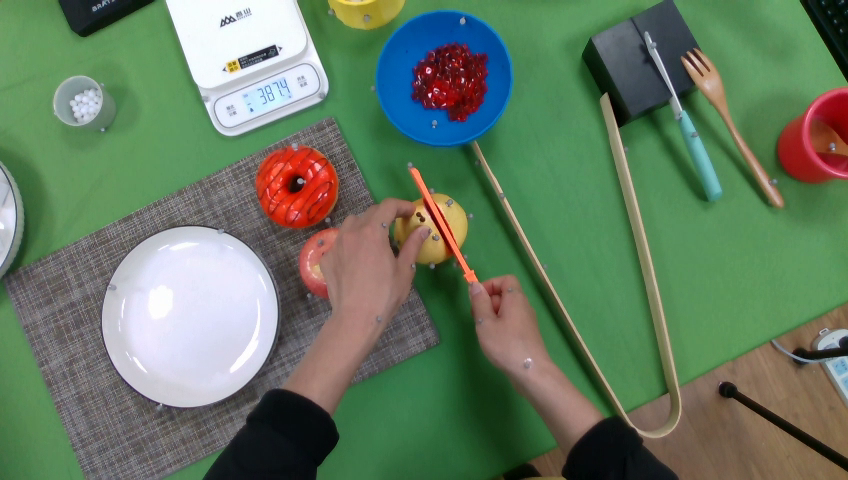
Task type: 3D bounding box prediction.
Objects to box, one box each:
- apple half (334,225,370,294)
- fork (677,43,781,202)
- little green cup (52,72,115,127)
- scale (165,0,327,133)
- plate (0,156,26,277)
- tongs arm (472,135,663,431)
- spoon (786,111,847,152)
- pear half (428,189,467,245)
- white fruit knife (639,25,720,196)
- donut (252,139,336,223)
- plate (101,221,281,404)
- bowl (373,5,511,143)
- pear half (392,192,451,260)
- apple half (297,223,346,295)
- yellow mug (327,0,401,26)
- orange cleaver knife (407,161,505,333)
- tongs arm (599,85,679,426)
[{"bbox_3d":[-0.076,0.024,0.679,0.033,0.081,0.081,7,86,6],"label":"apple half"},{"bbox_3d":[0.344,-0.128,0.675,0.028,0.018,0.208,-36,100,-2],"label":"fork"},{"bbox_3d":[-0.409,-0.167,0.733,0.061,0.039,0.061,0,86,4],"label":"little green cup"},{"bbox_3d":[-0.216,-0.244,0.731,0.148,0.031,0.200,-22,86,2],"label":"scale"},{"bbox_3d":[-0.578,-0.025,0.733,0.207,0.039,0.207,0,86,3],"label":"plate"},{"bbox_3d":[0.160,0.043,0.688,0.051,0.026,0.384,-25,86,-2],"label":"tongs arm"},{"bbox_3d":[0.457,-0.085,0.626,0.041,0.022,0.191,-32,41,0],"label":"spoon"},{"bbox_3d":[0.029,-0.032,0.675,0.031,0.088,0.070,-35,73,-8],"label":"pear half"},{"bbox_3d":[0.282,-0.141,0.672,0.016,0.027,0.208,-28,99,1],"label":"white fruit knife"},{"bbox_3d":[-0.151,-0.068,0.705,0.099,0.048,0.099,0,87,5],"label":"donut"},{"bbox_3d":[-0.265,0.082,0.704,0.209,0.038,0.208,0,86,3],"label":"plate"},{"bbox_3d":[0.021,-0.178,0.690,0.151,0.077,0.151,0,87,3],"label":"bowl"},{"bbox_3d":[-0.009,-0.014,0.665,0.056,0.110,0.076,-33,73,0],"label":"pear half"},{"bbox_3d":[-0.114,0.020,0.682,0.053,0.075,0.080,8,89,7],"label":"apple half"},{"bbox_3d":[-0.089,-0.321,0.712,0.130,0.064,0.100,31,89,6],"label":"yellow mug"},{"bbox_3d":[0.032,0.004,0.659,0.012,0.077,0.211,-28,89,1],"label":"orange cleaver knife"},{"bbox_3d":[0.240,0.014,0.687,0.028,0.028,0.386,-11,86,-4],"label":"tongs arm"}]
